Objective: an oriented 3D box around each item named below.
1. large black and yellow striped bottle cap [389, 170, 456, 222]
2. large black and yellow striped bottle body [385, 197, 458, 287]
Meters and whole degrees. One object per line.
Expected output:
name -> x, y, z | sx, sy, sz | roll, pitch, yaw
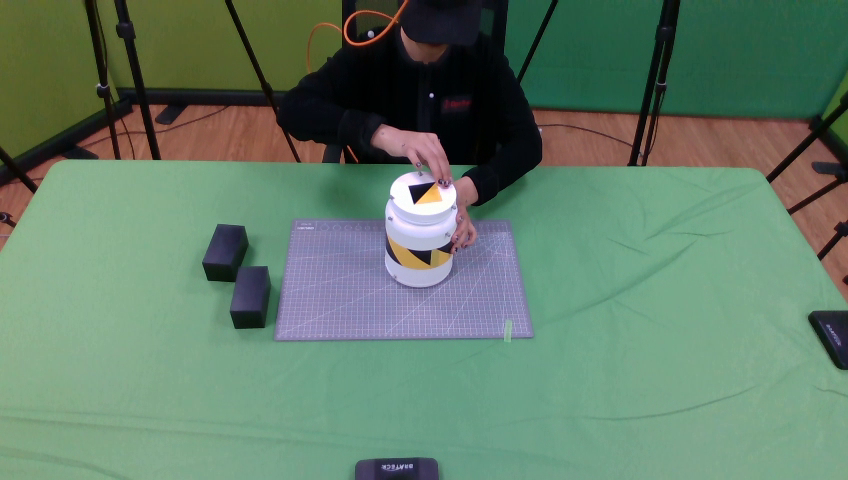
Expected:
large black and yellow striped bottle cap -> -0.002, -0.077, 1.037 | 0.115, 0.019, 0.114 | 3, 47, -3
large black and yellow striped bottle body -> -0.006, -0.018, 1.097 | 0.131, 0.185, 0.130 | 2, 46, -2
